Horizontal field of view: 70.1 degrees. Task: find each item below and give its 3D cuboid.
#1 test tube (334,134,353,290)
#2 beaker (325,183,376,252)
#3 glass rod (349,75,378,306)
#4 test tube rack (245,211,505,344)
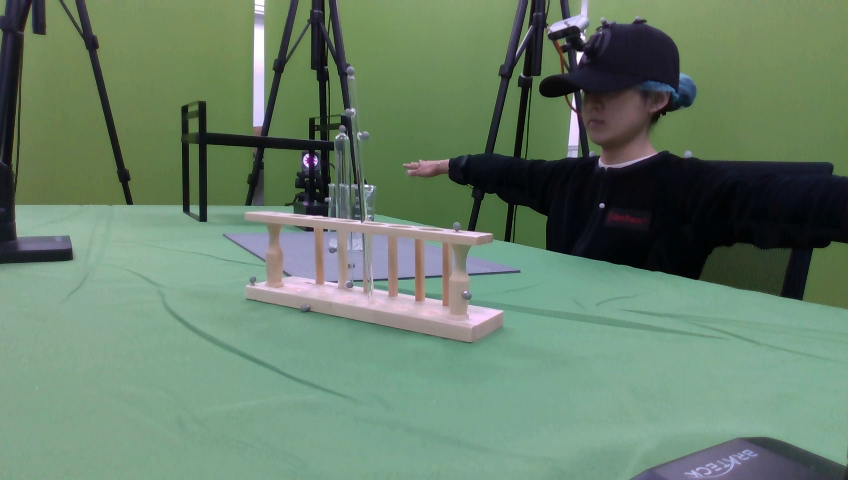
[{"bbox_3d":[-0.077,-0.026,0.579,0.017,0.150,0.017,0,7,0],"label":"test tube"},{"bbox_3d":[-0.110,-0.034,0.920,0.083,0.100,0.074,11,11,43],"label":"beaker"},{"bbox_3d":[-0.051,-0.037,0.511,0.008,0.199,0.008,-4,10,1],"label":"glass rod"},{"bbox_3d":[-0.049,0.025,0.547,0.241,0.085,0.067,7,8,29],"label":"test tube rack"}]
